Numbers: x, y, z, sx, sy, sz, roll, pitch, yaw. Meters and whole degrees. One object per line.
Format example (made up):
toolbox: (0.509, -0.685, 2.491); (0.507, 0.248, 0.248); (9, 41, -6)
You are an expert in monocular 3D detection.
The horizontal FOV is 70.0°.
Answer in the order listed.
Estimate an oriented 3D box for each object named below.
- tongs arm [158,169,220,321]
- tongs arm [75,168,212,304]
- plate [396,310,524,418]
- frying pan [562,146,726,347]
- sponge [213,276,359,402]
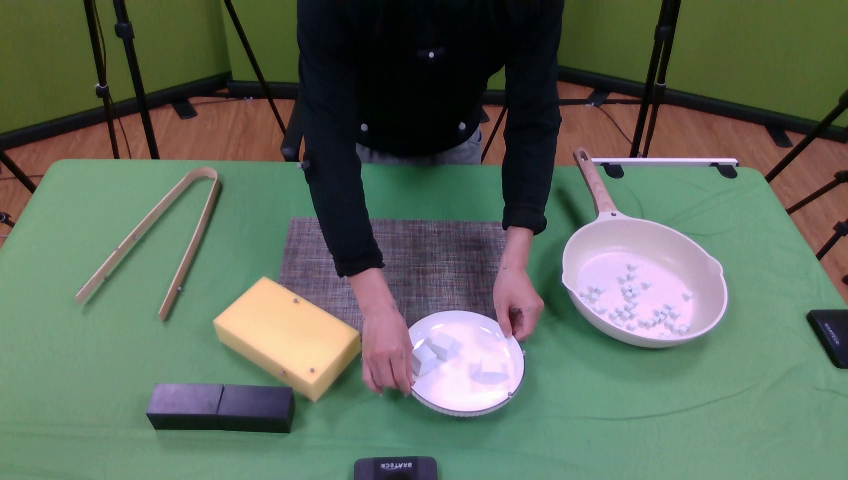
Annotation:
tongs arm: (-0.446, -0.005, 1.164); (0.028, 0.028, 0.385); (2, 46, 0)
tongs arm: (-0.525, -0.020, 1.167); (0.051, 0.026, 0.383); (13, 45, 7)
plate: (0.057, 0.202, 0.982); (0.208, 0.039, 0.206); (3, 41, -2)
frying pan: (0.378, -0.006, 1.175); (0.307, 0.103, 0.484); (-4, 55, -10)
sponge: (-0.225, 0.158, 0.998); (0.206, 0.061, 0.118); (27, 52, 18)
